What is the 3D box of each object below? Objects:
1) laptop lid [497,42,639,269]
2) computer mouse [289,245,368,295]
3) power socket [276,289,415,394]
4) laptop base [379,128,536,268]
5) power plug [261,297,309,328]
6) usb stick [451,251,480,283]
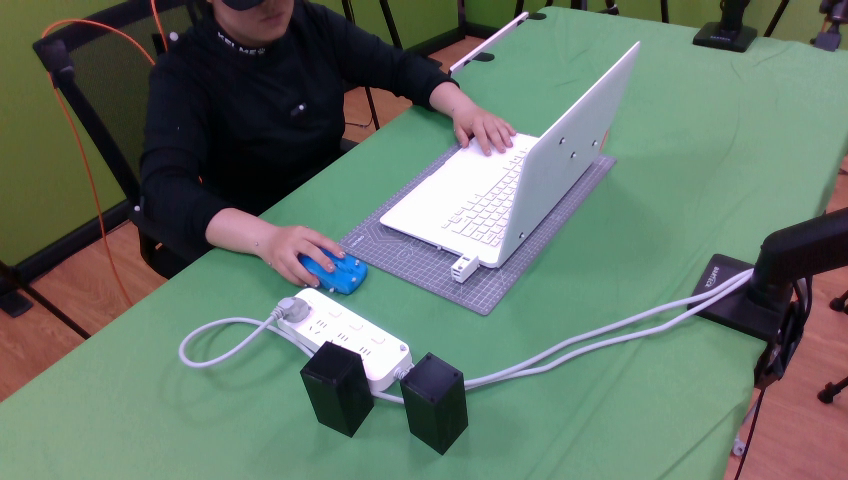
[{"bbox_3d":[0.221,-0.130,0.913,0.013,0.242,0.357,31,51,21],"label":"laptop lid"},{"bbox_3d":[-0.147,0.043,0.929,0.116,0.041,0.063,18,44,20],"label":"computer mouse"},{"bbox_3d":[-0.114,0.133,0.821,0.225,0.033,0.072,25,49,33],"label":"power socket"},{"bbox_3d":[0.118,-0.088,1.058,0.233,0.023,0.355,19,47,32],"label":"laptop base"},{"bbox_3d":[-0.193,0.107,0.831,0.073,0.053,0.035,-32,44,-26],"label":"power plug"},{"bbox_3d":[0.066,0.036,0.899,0.021,0.027,0.059,23,45,32],"label":"usb stick"}]
